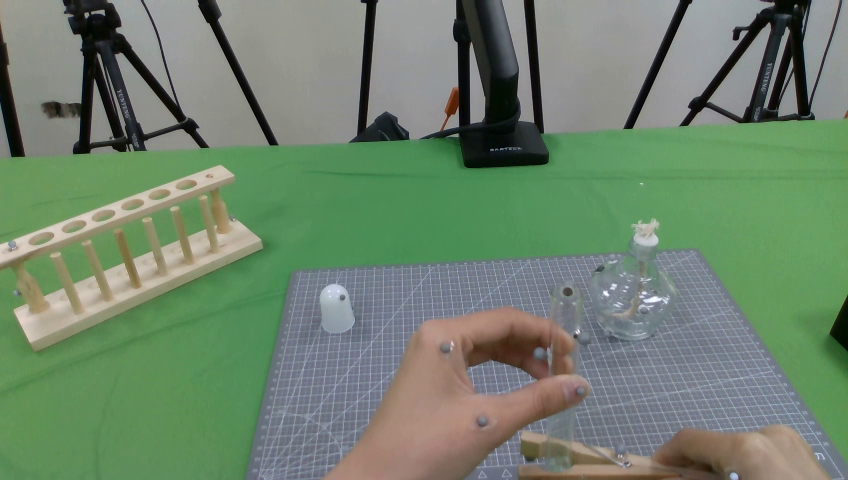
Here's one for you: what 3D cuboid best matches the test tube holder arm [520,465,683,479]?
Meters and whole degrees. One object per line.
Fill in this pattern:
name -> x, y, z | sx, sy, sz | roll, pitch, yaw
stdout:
test tube holder arm -> 0.098, 0.134, 0.339 | 0.088, 0.015, 0.010 | -2, 32, 5

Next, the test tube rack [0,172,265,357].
test tube rack -> -0.298, 0.016, 0.634 | 0.242, 0.086, 0.066 | -28, 42, -32

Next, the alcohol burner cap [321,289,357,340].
alcohol burner cap -> -0.083, 0.069, 0.581 | 0.034, 0.048, 0.033 | -1, 35, 1

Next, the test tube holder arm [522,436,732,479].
test tube holder arm -> 0.143, 0.134, 0.333 | 0.178, 0.015, 0.013 | 6, 35, 18

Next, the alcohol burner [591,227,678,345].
alcohol burner -> 0.193, 0.037, 0.548 | 0.078, 0.120, 0.077 | -1, 37, 1

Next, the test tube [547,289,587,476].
test tube -> 0.075, 0.091, 0.324 | 0.017, 0.151, 0.017 | -4, 31, 3
